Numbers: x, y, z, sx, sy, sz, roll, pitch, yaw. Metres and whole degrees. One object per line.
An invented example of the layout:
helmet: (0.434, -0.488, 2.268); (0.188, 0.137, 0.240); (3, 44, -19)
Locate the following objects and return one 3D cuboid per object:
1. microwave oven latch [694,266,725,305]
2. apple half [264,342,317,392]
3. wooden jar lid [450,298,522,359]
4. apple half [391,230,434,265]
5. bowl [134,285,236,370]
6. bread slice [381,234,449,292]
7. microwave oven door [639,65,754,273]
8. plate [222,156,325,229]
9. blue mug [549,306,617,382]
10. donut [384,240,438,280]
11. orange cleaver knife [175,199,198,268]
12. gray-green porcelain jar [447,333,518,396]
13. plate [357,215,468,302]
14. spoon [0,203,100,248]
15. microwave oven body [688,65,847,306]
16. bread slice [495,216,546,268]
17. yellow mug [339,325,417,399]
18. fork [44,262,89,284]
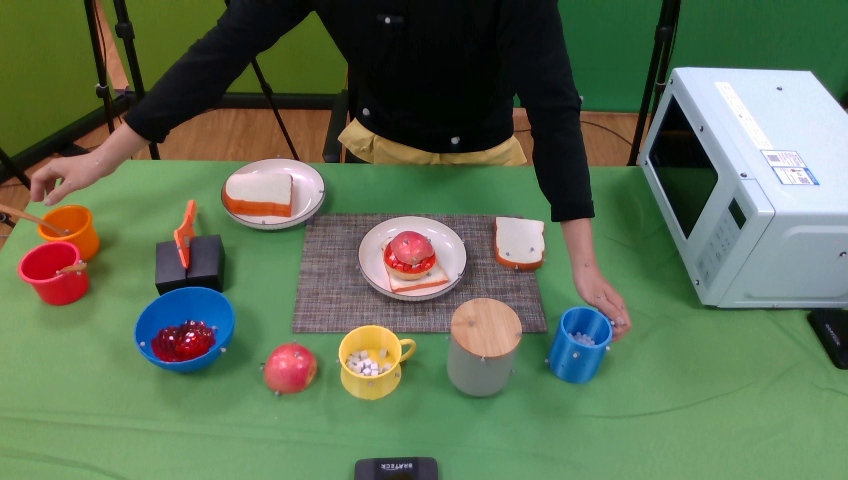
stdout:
microwave oven latch: (0.523, 0.082, 1.115); (0.030, 0.029, 0.078); (3, 46, 0)
apple half: (-0.214, 0.198, 0.970); (0.074, 0.053, 0.080); (19, 48, 10)
wooden jar lid: (0.093, 0.135, 0.914); (0.108, 0.021, 0.107); (3, 48, -3)
apple half: (-0.021, 0.004, 1.085); (0.081, 0.033, 0.081); (7, 44, -7)
bowl: (-0.377, 0.155, 0.981); (0.151, 0.077, 0.150); (2, 46, -2)
bread slice: (-0.027, 0.039, 1.140); (0.107, 0.018, 0.133); (-12, 49, -16)
microwave oven door: (0.522, -0.147, 1.192); (0.039, 0.245, 0.353); (0, 47, -3)
plate: (-0.308, -0.095, 1.251); (0.209, 0.038, 0.208); (2, 47, -2)
blue mug: (0.269, 0.166, 0.998); (0.116, 0.106, 0.082); (-21, 51, -22)
donut: (-0.025, 0.029, 1.109); (0.099, 0.048, 0.098); (2, 46, -2)
orange cleaver knife: (-0.438, -0.017, 1.138); (0.012, 0.077, 0.210); (-14, 27, -6)
gray-green porcelain jar: (0.091, 0.178, 0.960); (0.106, 0.127, 0.105); (2, 47, -2)
plate: (-0.022, 0.037, 1.141); (0.208, 0.039, 0.206); (2, 46, -2)
spoon: (-0.683, -0.032, 1.088); (0.195, 0.021, 0.041); (33, 33, -38)
microwave oven body: (0.669, -0.111, 1.176); (0.326, 0.261, 0.439); (0, 46, -3)
bread slice: (0.194, 0.002, 1.205); (0.105, 0.019, 0.131); (5, 45, 2)
yellow mug: (-0.072, 0.190, 0.978); (0.131, 0.064, 0.099); (-17, 50, -20)
fork: (-0.599, 0.054, 1.014); (0.207, 0.019, 0.028); (-15, 29, 45)
